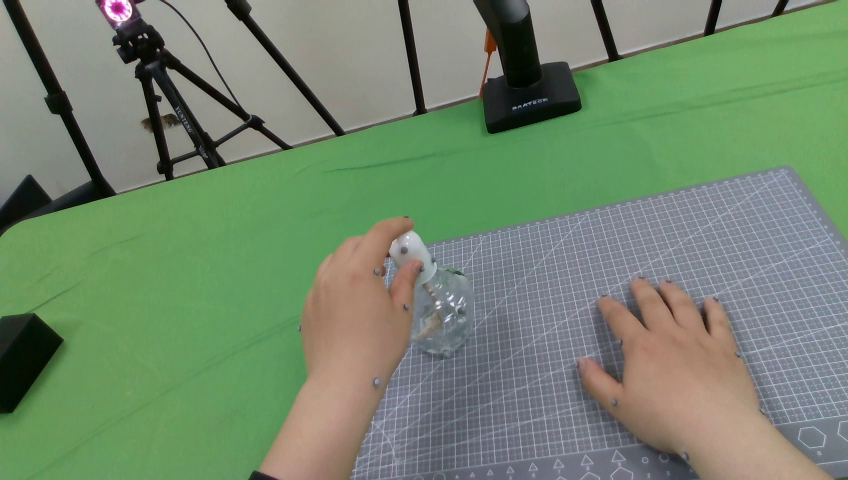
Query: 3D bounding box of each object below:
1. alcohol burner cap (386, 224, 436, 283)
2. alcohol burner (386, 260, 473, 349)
[{"bbox_3d":[-0.012,0.008,0.487,0.034,0.048,0.033,-13,44,13],"label":"alcohol burner cap"},{"bbox_3d":[0.001,0.038,0.513,0.078,0.120,0.077,-11,42,10],"label":"alcohol burner"}]
